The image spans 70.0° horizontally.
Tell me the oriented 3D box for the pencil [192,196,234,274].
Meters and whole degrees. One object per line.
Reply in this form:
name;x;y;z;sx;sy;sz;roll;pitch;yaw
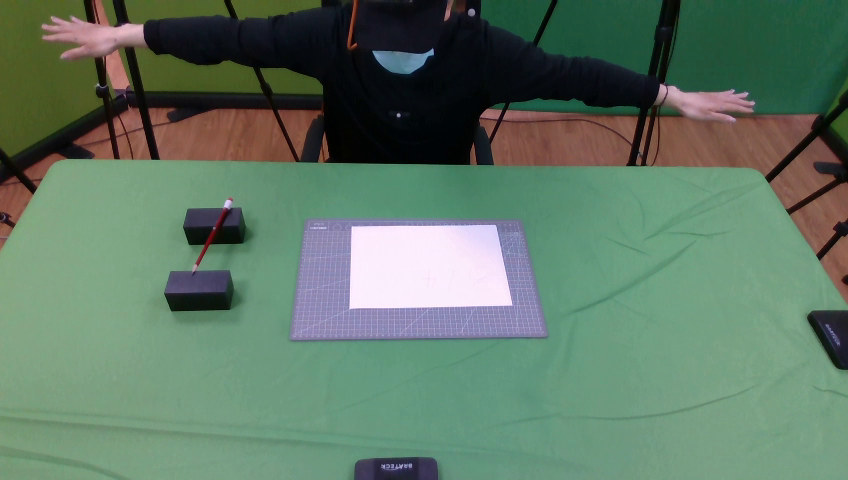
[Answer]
pencil;-0.389;-0.012;1.119;0.012;0.012;0.193;8;48;4
